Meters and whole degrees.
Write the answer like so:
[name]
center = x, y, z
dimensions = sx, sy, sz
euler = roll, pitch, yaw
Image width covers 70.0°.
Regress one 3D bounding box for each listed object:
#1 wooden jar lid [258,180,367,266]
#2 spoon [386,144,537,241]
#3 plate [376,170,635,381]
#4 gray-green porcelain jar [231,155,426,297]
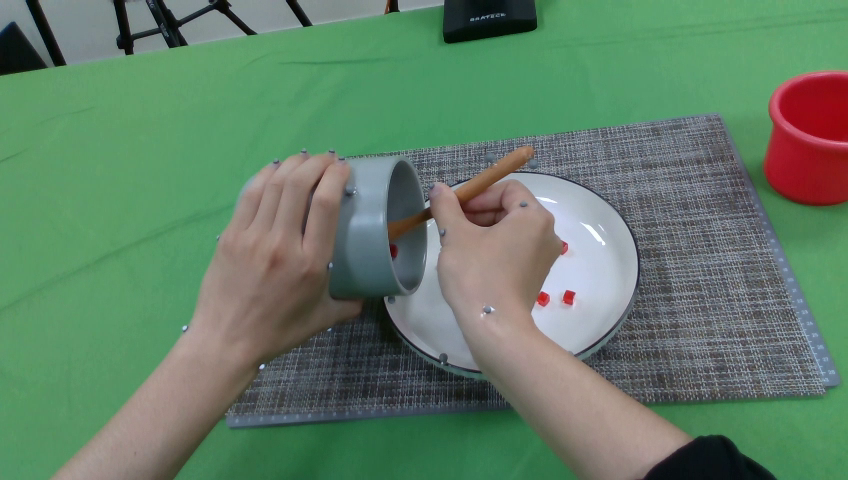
[wooden jar lid]
center = -0.107, -0.016, 0.592
dimensions = 0.108, 0.021, 0.107
euler = -6, 48, 7
[spoon]
center = 0.000, -0.021, 0.442
dimensions = 0.193, 0.022, 0.041
euler = -26, 50, 28
[plate]
center = 0.064, 0.027, 0.500
dimensions = 0.207, 0.039, 0.205
euler = -7, 49, 8
[gray-green porcelain jar]
center = -0.072, -0.009, 0.465
dimensions = 0.126, 0.107, 0.105
euler = -2, 50, 15
